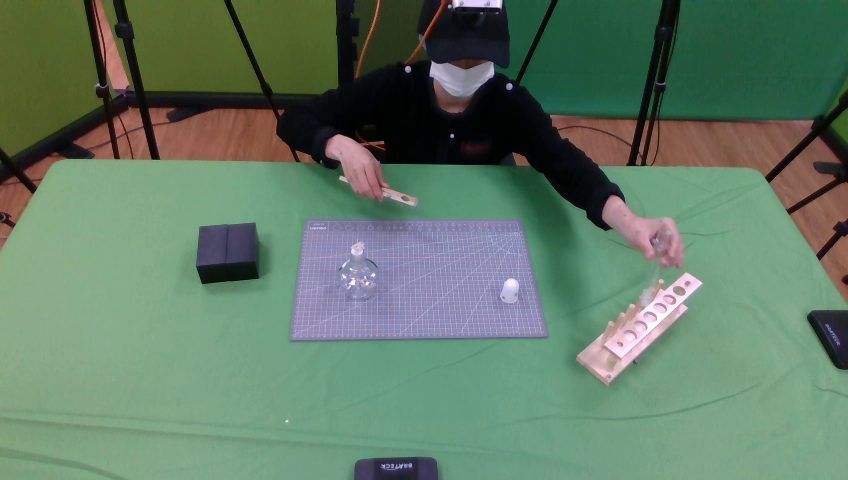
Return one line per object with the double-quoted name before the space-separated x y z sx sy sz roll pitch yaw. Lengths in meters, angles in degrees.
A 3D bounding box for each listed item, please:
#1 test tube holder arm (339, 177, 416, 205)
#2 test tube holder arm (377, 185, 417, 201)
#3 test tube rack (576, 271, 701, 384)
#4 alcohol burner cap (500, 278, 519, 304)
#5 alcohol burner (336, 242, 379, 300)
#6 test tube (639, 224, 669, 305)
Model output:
"test tube holder arm" -0.095 -0.098 1.201 0.178 0.013 0.015 18 3 23
"test tube holder arm" -0.054 -0.091 1.183 0.087 0.010 0.015 19 3 23
"test tube rack" 0.373 0.138 1.047 0.242 0.085 0.066 -31 56 -29
"alcohol burner cap" 0.157 0.090 1.104 0.034 0.048 0.033 2 46 -2
"alcohol burner" -0.118 0.050 1.072 0.078 0.120 0.077 2 44 -1
"test tube" 0.356 0.041 0.943 0.017 0.151 0.017 0 34 0
